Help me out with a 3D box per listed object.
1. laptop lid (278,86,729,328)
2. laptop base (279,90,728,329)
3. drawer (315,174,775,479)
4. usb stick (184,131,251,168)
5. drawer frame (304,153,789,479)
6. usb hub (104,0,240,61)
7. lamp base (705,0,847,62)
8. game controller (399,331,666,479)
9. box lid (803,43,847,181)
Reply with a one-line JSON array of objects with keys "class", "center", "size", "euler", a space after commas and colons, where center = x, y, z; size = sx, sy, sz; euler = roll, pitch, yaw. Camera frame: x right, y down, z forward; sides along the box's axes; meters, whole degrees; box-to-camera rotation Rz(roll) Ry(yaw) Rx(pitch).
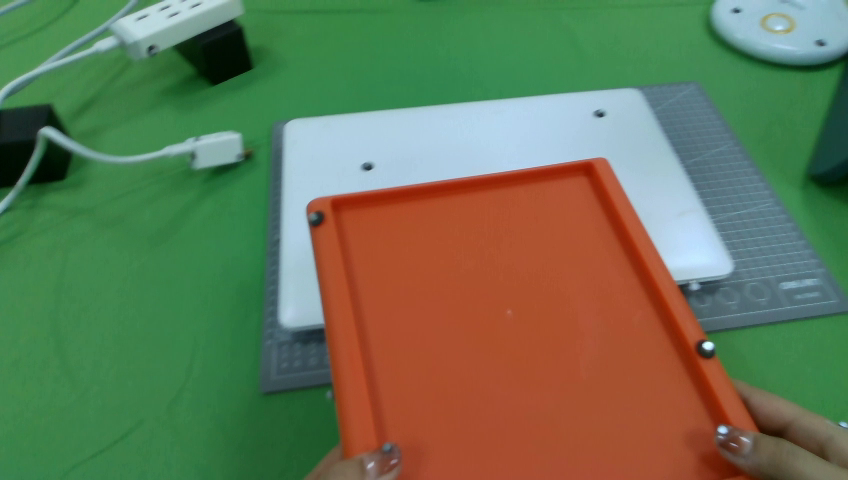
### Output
[{"class": "laptop lid", "center": [0.052, -0.045, 0.524], "size": [0.357, 0.013, 0.239], "euler": [-5, 52, -4]}, {"class": "laptop base", "center": [0.052, -0.039, 0.535], "size": [0.355, 0.023, 0.233], "euler": [-6, 53, -5]}, {"class": "drawer", "center": [0.050, 0.067, 0.344], "size": [0.195, 0.074, 0.209], "euler": [-9, 55, -11]}, {"class": "usb stick", "center": [-0.190, -0.086, 0.565], "size": [0.059, 0.027, 0.021], "euler": [-19, 27, -41]}, {"class": "drawer frame", "center": [0.047, 0.064, 0.344], "size": [0.202, 0.083, 0.211], "euler": [-10, 55, -10]}, {"class": "usb hub", "center": [-0.258, -0.228, 0.627], "size": [0.125, 0.025, 0.049], "euler": [-37, 60, -26]}, {"class": "lamp base", "center": [0.417, -0.317, 0.658], "size": [0.159, 0.182, 0.178], "euler": [24, 52, 20]}, {"class": "game controller", "center": [0.061, 0.109, 0.333], "size": [0.155, 0.051, 0.097], "euler": [-12, 83, -11]}, {"class": "box lid", "center": [0.478, -0.220, 0.534], "size": [0.015, 0.264, 0.370], "euler": [38, 57, 2]}]
